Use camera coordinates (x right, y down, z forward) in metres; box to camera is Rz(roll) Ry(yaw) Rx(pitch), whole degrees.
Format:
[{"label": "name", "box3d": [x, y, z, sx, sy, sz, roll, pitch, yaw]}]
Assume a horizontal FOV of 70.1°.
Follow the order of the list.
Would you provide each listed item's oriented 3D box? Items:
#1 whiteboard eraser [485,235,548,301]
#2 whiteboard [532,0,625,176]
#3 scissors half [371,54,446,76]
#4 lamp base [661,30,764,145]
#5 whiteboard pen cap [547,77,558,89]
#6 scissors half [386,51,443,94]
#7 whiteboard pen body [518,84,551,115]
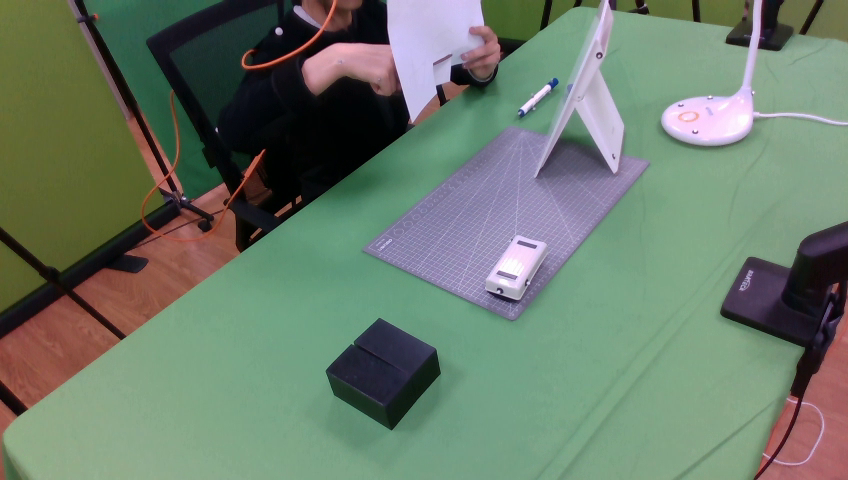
[{"label": "whiteboard eraser", "box3d": [0.137, 0.042, 0.887, 0.055, 0.042, 0.113, 15, 46, 27]}, {"label": "whiteboard", "box3d": [0.320, -0.259, 1.050, 0.144, 0.306, 0.217, 21, 45, 5]}, {"label": "scissors half", "box3d": [-0.023, -0.312, 1.057, 0.176, 0.013, 0.040, -20, 71, -39]}, {"label": "lamp base", "box3d": [0.535, -0.287, 1.096, 0.179, 0.181, 0.159, -10, 40, -4]}, {"label": "whiteboard pen cap", "box3d": [0.279, -0.341, 1.321, 0.018, 0.018, 0.033, 22, 51, 31]}, {"label": "scissors half", "box3d": [-0.010, -0.296, 1.055, 0.040, 0.013, 0.175, 43, 49, -5]}, {"label": "whiteboard pen body", "box3d": [0.242, -0.306, 1.290, 0.017, 0.017, 0.141, 24, 52, 33]}]
